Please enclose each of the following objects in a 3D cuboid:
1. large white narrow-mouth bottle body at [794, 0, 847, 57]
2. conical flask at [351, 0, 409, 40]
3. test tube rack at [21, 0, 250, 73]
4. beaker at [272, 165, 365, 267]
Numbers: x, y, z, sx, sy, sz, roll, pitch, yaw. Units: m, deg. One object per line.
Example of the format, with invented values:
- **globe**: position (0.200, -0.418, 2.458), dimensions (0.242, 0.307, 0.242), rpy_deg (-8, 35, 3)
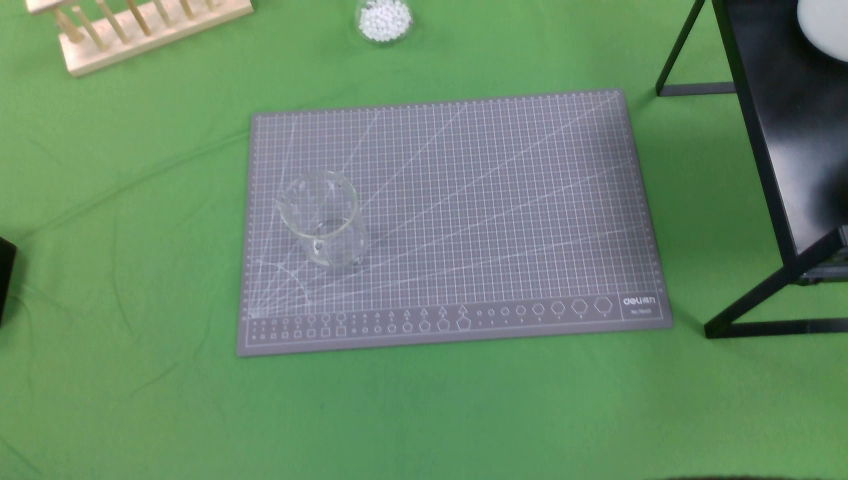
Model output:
- **large white narrow-mouth bottle body**: position (0.372, -0.233, 0.452), dimensions (0.102, 0.196, 0.101), rpy_deg (-1, 68, 3)
- **conical flask**: position (-0.059, -0.309, 0.730), dimensions (0.075, 0.123, 0.075), rpy_deg (-1, 67, 2)
- **test tube rack**: position (-0.354, -0.302, 0.756), dimensions (0.242, 0.086, 0.066), rpy_deg (-24, 69, -8)
- **beaker**: position (-0.104, -0.020, 0.623), dimensions (0.084, 0.101, 0.073), rpy_deg (5, 67, 5)
